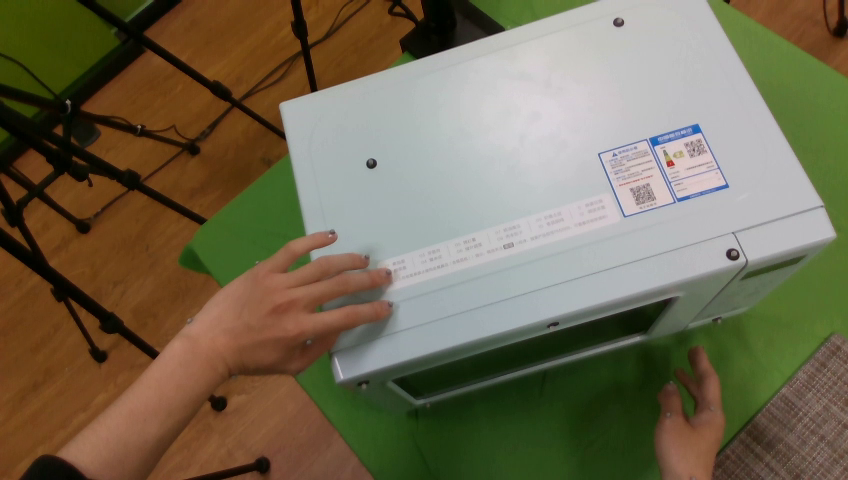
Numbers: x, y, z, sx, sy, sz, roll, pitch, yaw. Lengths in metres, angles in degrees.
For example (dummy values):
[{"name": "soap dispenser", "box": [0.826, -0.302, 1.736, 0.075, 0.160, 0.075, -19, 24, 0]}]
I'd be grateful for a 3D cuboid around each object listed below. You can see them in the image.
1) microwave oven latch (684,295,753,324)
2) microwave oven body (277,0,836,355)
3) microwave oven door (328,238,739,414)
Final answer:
[{"name": "microwave oven latch", "box": [0.333, 0.073, 0.698, 0.079, 0.030, 0.030, -15, 68, 4]}, {"name": "microwave oven body", "box": [0.111, -0.041, 0.673, 0.442, 0.262, 0.323, -17, 68, 3]}, {"name": "microwave oven door", "box": [0.106, 0.098, 0.614, 0.356, 0.246, 0.039, -17, 66, 2]}]
